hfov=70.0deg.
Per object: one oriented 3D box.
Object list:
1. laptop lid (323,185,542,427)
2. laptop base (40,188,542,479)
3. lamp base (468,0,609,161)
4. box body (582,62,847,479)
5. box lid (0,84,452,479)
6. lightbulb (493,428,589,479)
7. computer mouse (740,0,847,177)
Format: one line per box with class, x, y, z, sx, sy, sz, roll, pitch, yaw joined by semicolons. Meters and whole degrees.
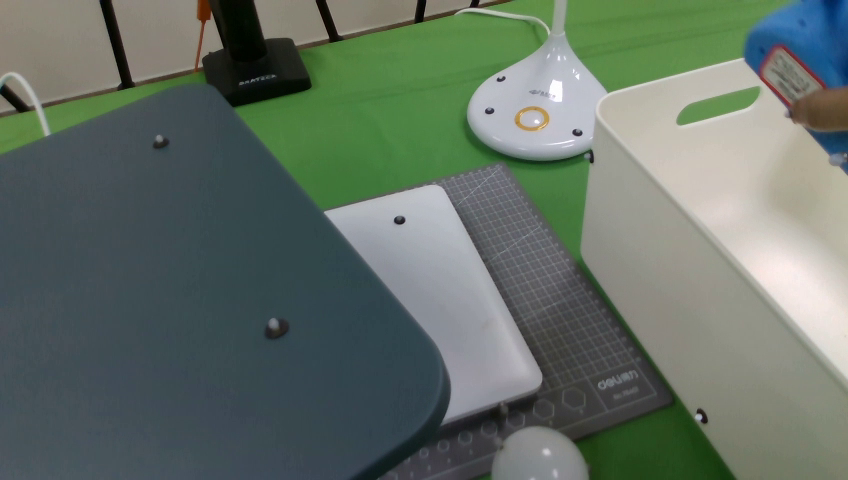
laptop lid;-0.113;0.073;0.476;0.357;0.013;0.239;-14;50;-10
laptop base;-0.113;0.079;0.487;0.355;0.023;0.233;-16;51;-11
lamp base;0.128;-0.203;0.626;0.160;0.182;0.178;9;46;12
box body;0.294;0.042;0.397;0.254;0.162;0.359;-16;48;-11
box lid;-0.183;0.028;0.319;0.263;0.015;0.367;-29;45;-18
lightbulb;0.079;0.169;0.369;0.059;0.060;0.106;-14;64;-9
computer mouse;0.216;-0.076;0.299;0.063;0.041;0.116;-24;72;-13
